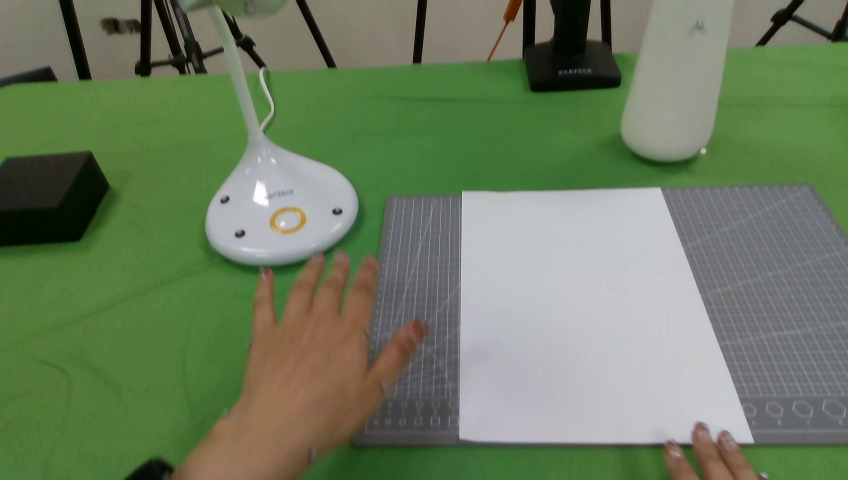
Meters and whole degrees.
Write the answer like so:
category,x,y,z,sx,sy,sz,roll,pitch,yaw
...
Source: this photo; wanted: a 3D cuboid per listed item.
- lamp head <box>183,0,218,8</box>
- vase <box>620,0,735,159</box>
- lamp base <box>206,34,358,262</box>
category,x,y,z,sx,sy,sz,roll,pitch,yaw
lamp head,-0.126,-0.221,0.373,0.112,0.123,0.111,-24,18,8
vase,0.267,-0.185,0.639,0.098,0.202,0.097,-4,42,4
lamp base,-0.162,-0.098,0.601,0.161,0.182,0.177,-23,44,-18
